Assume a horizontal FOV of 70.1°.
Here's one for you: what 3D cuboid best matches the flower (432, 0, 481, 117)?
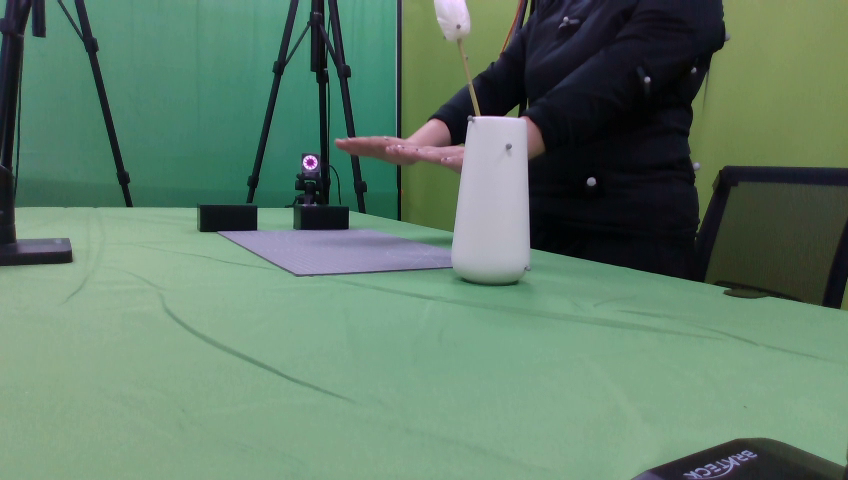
[{"bbox_3d":[0.071,-0.129,0.736,0.038,0.361,0.044,-16,-2,41],"label":"flower"}]

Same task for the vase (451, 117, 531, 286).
[{"bbox_3d":[0.083,-0.047,0.737,0.098,0.200,0.098,1,6,0],"label":"vase"}]
